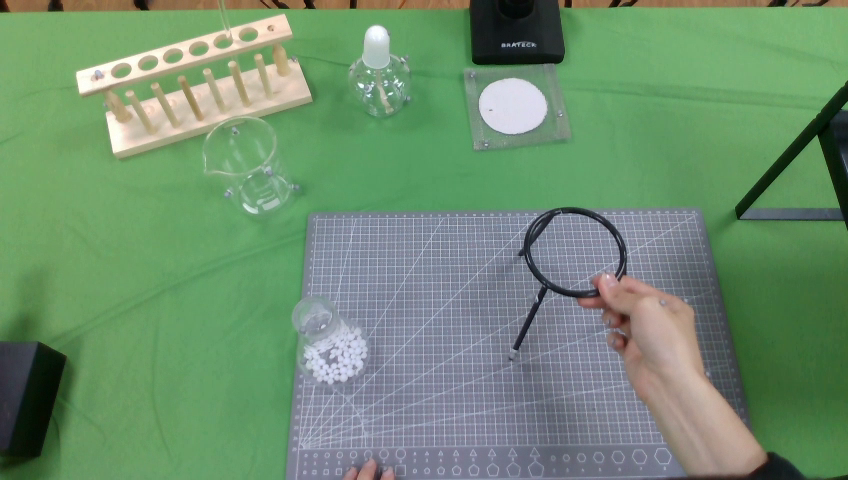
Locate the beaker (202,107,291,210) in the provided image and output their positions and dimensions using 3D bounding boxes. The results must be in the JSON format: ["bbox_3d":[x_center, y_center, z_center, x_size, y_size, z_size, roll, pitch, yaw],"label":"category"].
[{"bbox_3d":[-0.191,-0.082,0.662,0.084,0.101,0.073,-40,70,-17],"label":"beaker"}]

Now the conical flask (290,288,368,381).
[{"bbox_3d":[-0.095,0.083,0.570,0.075,0.123,0.074,0,64,1],"label":"conical flask"}]

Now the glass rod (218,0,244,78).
[{"bbox_3d":[-0.221,-0.250,0.675,0.008,0.201,0.008,2,63,-4],"label":"glass rod"}]

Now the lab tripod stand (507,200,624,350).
[{"bbox_3d":[0.134,0.032,0.584,0.148,0.132,0.147,1,61,-1],"label":"lab tripod stand"}]

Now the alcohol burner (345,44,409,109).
[{"bbox_3d":[-0.056,-0.212,0.715,0.078,0.120,0.077,0,63,-1],"label":"alcohol burner"}]

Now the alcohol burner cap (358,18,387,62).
[{"bbox_3d":[-0.056,-0.229,0.683,0.034,0.048,0.033,4,64,-8],"label":"alcohol burner cap"}]

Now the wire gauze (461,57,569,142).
[{"bbox_3d":[0.112,-0.180,0.758,0.121,0.011,0.124,-5,65,-3],"label":"wire gauze"}]

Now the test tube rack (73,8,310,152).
[{"bbox_3d":[-0.268,-0.190,0.720,0.242,0.086,0.066,-19,66,-9],"label":"test tube rack"}]
